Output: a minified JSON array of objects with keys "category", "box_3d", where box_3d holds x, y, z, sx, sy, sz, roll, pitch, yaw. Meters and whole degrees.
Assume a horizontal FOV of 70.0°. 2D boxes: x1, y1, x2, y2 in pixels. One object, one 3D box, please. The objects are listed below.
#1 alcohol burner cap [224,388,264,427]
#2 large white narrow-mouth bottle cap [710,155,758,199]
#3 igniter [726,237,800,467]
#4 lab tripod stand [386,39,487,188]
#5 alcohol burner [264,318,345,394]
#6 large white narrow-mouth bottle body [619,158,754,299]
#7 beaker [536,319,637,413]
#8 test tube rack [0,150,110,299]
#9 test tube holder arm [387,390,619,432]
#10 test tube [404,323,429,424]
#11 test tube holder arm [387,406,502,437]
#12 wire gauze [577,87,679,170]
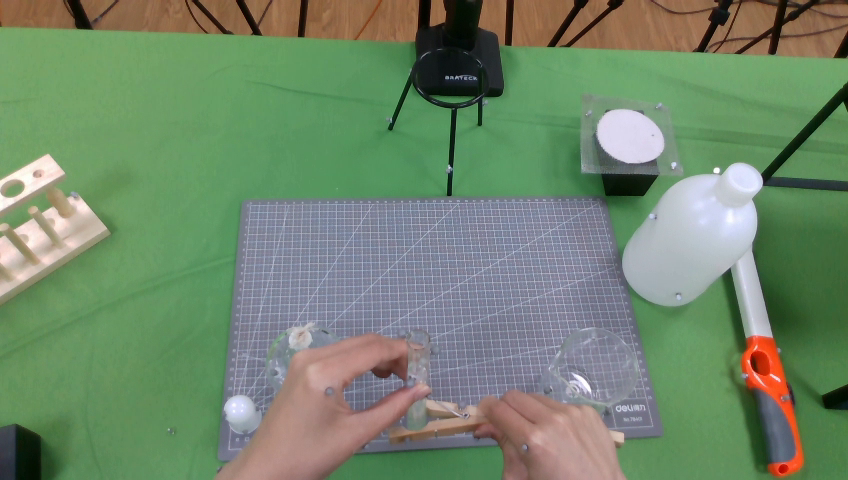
[{"category":"alcohol burner cap","box_3d":[-0.177,0.161,0.588,0.034,0.048,0.033,2,63,-3]},{"category":"large white narrow-mouth bottle cap","box_3d":[0.292,-0.060,0.573,0.038,0.024,0.037,2,61,-4]},{"category":"igniter","box_3d":[0.374,0.112,0.681,0.057,0.025,0.274,10,60,-12]},{"category":"lab tripod stand","box_3d":[0.024,-0.158,0.732,0.148,0.132,0.147,3,62,-6]},{"category":"alcohol burner","box_3d":[-0.116,0.105,0.583,0.078,0.120,0.077,3,60,-6]},{"category":"large white narrow-mouth bottle body","box_3d":[0.286,-0.018,0.647,0.102,0.196,0.101,2,61,-3]},{"category":"beaker","box_3d":[0.154,0.132,0.604,0.084,0.101,0.073,-4,61,-7]},{"category":"test tube rack","box_3d":[-0.462,0.017,0.615,0.242,0.086,0.066,-40,72,-23]},{"category":"test tube holder arm","box_3d":[0.060,0.132,0.468,0.178,0.015,0.013,5,57,1]},{"category":"test tube","box_3d":[-0.006,0.102,0.430,0.017,0.151,0.017,1,52,-1]},{"category":"test tube holder arm","box_3d":[0.016,0.136,0.463,0.088,0.015,0.010,-9,56,-8]},{"category":"wire gauze","box_3d":[0.252,-0.139,0.759,0.121,0.011,0.124,6,61,-2]}]
